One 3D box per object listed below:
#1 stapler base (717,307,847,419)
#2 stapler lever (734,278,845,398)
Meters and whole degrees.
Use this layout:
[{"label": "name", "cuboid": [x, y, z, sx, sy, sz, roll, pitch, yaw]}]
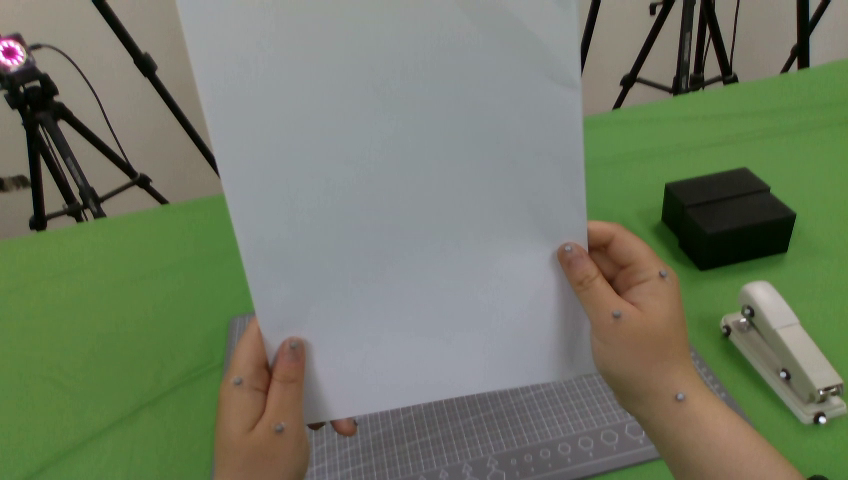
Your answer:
[{"label": "stapler base", "cuboid": [0.314, 0.098, 0.538, 0.041, 0.025, 0.129, -14, 37, -4]}, {"label": "stapler lever", "cuboid": [0.312, 0.079, 0.522, 0.027, 0.040, 0.117, -14, 38, -4]}]
